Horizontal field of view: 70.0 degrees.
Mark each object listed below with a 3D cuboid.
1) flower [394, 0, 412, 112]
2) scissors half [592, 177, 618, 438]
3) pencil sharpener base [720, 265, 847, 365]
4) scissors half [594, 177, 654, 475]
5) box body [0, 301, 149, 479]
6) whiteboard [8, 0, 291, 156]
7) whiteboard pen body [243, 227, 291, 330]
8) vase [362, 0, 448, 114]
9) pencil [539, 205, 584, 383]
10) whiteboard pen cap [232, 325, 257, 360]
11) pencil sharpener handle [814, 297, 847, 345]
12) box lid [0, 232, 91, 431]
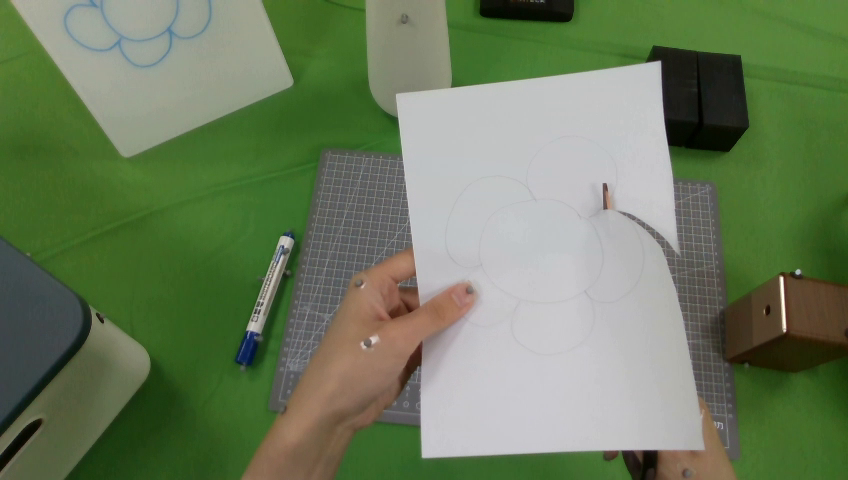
[{"bbox_3d":[-0.029,-0.271,0.574,0.044,0.365,0.038,-1,49,3],"label":"flower"},{"bbox_3d":[0.112,0.046,0.371,0.013,0.176,0.039,-7,24,1],"label":"scissors half"},{"bbox_3d":[0.339,0.074,0.567,0.077,0.107,0.061,10,66,1],"label":"pencil sharpener base"},{"bbox_3d":[0.113,0.050,0.350,0.013,0.040,0.175,-9,89,-4],"label":"scissors half"},{"bbox_3d":[-0.469,0.091,0.531,0.362,0.161,0.253,31,71,12],"label":"box body"},{"bbox_3d":[-0.311,-0.286,0.647,0.217,0.308,0.142,-27,50,-10],"label":"whiteboard"},{"bbox_3d":[-0.165,0.049,0.627,0.017,0.017,0.140,12,66,6],"label":"whiteboard pen body"},{"bbox_3d":[-0.022,-0.225,0.645,0.098,0.201,0.097,0,65,1],"label":"vase"},{"bbox_3d":[0.143,0.052,0.629,0.012,0.012,0.192,-8,69,-3],"label":"pencil"},{"bbox_3d":[-0.177,0.101,0.602,0.018,0.018,0.033,11,63,5],"label":"whiteboard pen cap"},{"bbox_3d":[0.390,0.079,0.555,0.030,0.068,0.035,10,61,1],"label":"pencil sharpener handle"},{"bbox_3d":[-0.471,0.060,0.464,0.370,0.015,0.262,31,70,12],"label":"box lid"}]
